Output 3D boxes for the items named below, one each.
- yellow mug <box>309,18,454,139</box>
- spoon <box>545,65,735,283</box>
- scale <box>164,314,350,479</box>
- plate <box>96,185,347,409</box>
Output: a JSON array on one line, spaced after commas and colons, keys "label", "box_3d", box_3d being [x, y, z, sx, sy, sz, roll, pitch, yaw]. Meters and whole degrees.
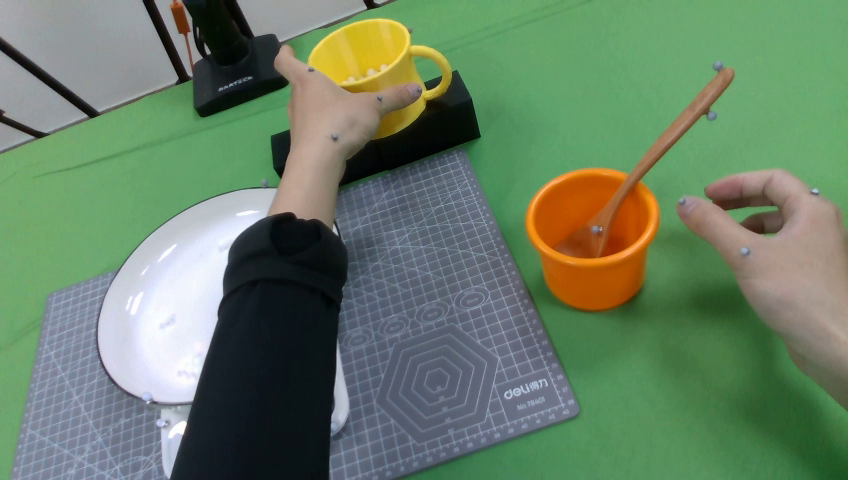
[{"label": "yellow mug", "box_3d": [-0.036, -0.156, 0.574, 0.130, 0.064, 0.099, -3, 52, 15]}, {"label": "spoon", "box_3d": [0.150, -0.041, 0.434, 0.022, 0.194, 0.041, 12, 36, -29]}, {"label": "scale", "box_3d": [-0.145, 0.084, 0.502, 0.148, 0.032, 0.198, -20, 50, 2]}, {"label": "plate", "box_3d": [-0.160, 0.043, 0.495, 0.209, 0.038, 0.207, -8, 51, 10]}]
